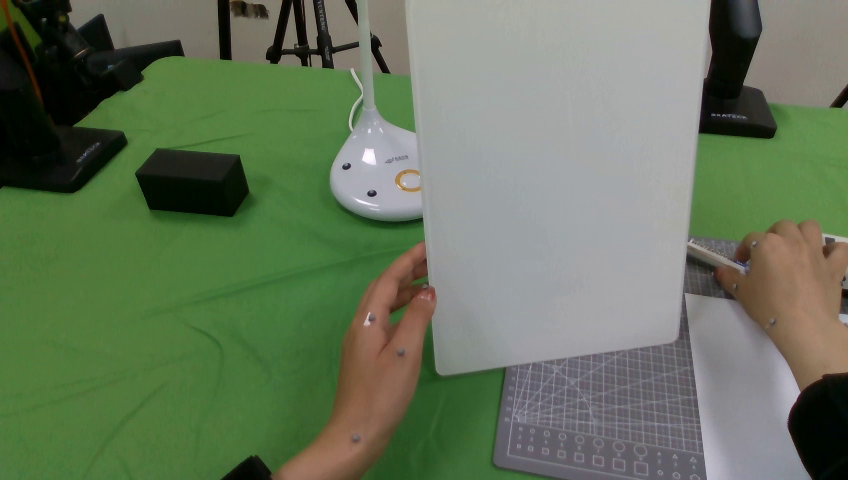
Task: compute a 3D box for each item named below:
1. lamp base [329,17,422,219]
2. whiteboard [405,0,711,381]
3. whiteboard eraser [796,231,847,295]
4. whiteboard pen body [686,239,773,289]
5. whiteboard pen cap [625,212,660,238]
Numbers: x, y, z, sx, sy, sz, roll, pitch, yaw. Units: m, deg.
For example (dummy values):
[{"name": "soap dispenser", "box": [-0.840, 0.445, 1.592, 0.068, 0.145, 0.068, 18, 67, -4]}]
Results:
[{"name": "lamp base", "box": [-0.041, -0.142, 0.673, 0.161, 0.182, 0.177, -26, 45, -25]}, {"name": "whiteboard", "box": [0.098, -0.060, 0.526, 0.217, 0.307, 0.142, -7, 23, -5]}, {"name": "whiteboard eraser", "box": [0.414, 0.029, 0.569, 0.112, 0.042, 0.055, 12, 42, 15]}, {"name": "whiteboard pen body", "box": [0.275, 0.012, 0.605, 0.139, 0.017, 0.017, 29, 50, 25]}, {"name": "whiteboard pen cap", "box": [0.229, -0.015, 0.632, 0.033, 0.018, 0.018, 28, 49, 23]}]
